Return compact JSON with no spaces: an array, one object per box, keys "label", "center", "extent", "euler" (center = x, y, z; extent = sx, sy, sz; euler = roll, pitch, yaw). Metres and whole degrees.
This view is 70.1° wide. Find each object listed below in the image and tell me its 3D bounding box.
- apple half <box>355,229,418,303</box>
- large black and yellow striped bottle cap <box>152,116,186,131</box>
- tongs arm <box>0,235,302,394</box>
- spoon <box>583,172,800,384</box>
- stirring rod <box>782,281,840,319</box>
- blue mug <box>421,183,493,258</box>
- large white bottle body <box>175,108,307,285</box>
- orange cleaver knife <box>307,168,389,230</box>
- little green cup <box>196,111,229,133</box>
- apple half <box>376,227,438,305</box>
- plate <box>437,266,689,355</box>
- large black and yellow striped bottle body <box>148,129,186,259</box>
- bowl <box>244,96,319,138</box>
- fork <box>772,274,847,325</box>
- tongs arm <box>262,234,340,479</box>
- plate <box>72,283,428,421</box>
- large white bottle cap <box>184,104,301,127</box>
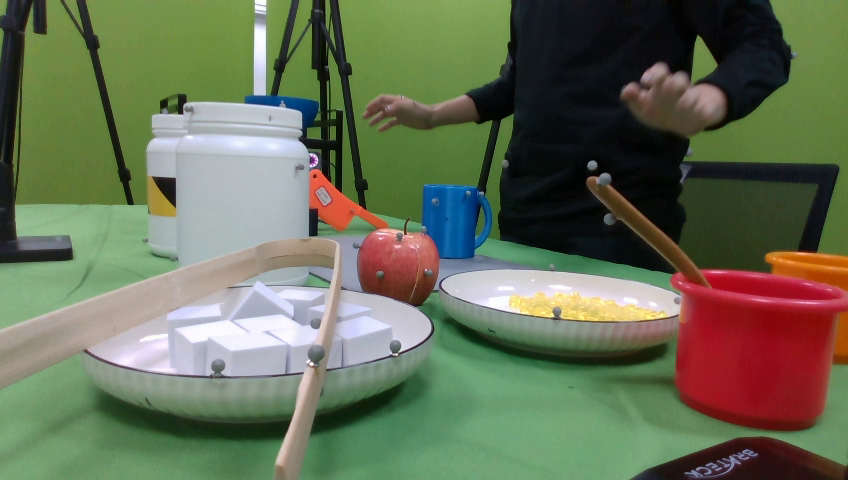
[{"label":"apple half","center":[-0.043,0.027,0.564],"extent":[0.081,0.081,0.033],"euler":[9,5,42]},{"label":"large black and yellow striped bottle cap","center":[-0.309,-0.155,0.826],"extent":[0.115,0.019,0.115],"euler":[3,6,0]},{"label":"tongs arm","center":[-0.157,0.038,0.351],"extent":[0.028,0.028,0.388],"euler":[-3,9,12]},{"label":"spoon","center":[0.159,0.026,0.358],"extent":[0.194,0.021,0.041],"euler":[46,-2,-14]},{"label":"stirring rod","center":[0.344,0.019,0.460],"extent":[0.014,0.006,0.176],"euler":[-13,-27,-30]},{"label":"blue mug","center":[0.052,-0.032,0.912],"extent":[0.117,0.106,0.082],"euler":[-1,8,-24]},{"label":"large white bottle body","center":[-0.188,-0.042,0.630],"extent":[0.131,0.184,0.130],"euler":[2,8,0]},{"label":"orange cleaver knife","center":[-0.158,-0.060,1.166],"extent":[0.212,0.077,0.012],"euler":[34,-12,-32]},{"label":"little green cup","center":[-0.403,-0.225,1.154],"extent":[0.061,0.038,0.061],"euler":[3,8,0]},{"label":"apple half","center":[-0.017,0.026,0.593],"extent":[0.080,0.074,0.053],"euler":[4,2,43]},{"label":"plate","center":[0.114,0.057,0.518],"extent":[0.209,0.038,0.209],"euler":[3,7,0]},{"label":"large black and yellow striped bottle body","center":[-0.310,-0.073,0.838],"extent":[0.131,0.184,0.130],"euler":[2,8,0]},{"label":"bowl","center":[-0.295,-0.252,1.254],"extent":[0.151,0.077,0.151],"euler":[2,7,0]},{"label":"fork","center":[0.332,0.018,0.443],"extent":[0.028,0.018,0.207],"euler":[-1,-36,-15]},{"label":"tongs arm","center":[-0.074,0.039,0.349],"extent":[0.051,0.026,0.384],"euler":[-2,10,-3]},{"label":"plate","center":[-0.102,0.066,0.381],"extent":[0.208,0.039,0.207],"euler":[2,7,0]},{"label":"large white bottle cap","center":[-0.184,-0.126,0.618],"extent":[0.115,0.018,0.115],"euler":[2,8,0]}]
